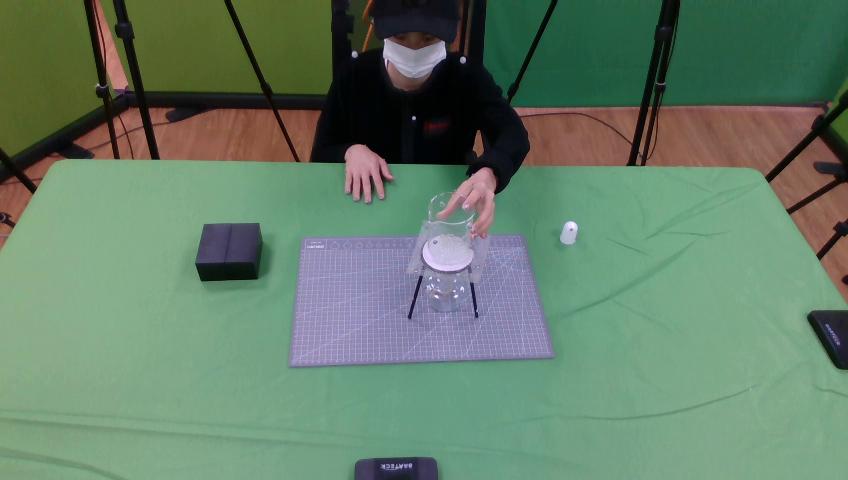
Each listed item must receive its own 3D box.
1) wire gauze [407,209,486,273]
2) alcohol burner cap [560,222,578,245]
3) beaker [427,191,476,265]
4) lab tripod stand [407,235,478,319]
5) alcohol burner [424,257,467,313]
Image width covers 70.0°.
[{"bbox_3d":[0.035,0.003,1.001,0.125,0.011,0.120,-7,50,-1],"label":"wire gauze"},{"bbox_3d":[0.295,-0.016,1.224,0.034,0.048,0.033,2,47,-2],"label":"alcohol burner cap"},{"bbox_3d":[0.039,-0.015,0.973,0.084,0.101,0.073,-30,53,-28],"label":"beaker"},{"bbox_3d":[0.032,0.065,1.057,0.148,0.132,0.147,1,45,-1],"label":"lab tripod stand"},{"bbox_3d":[0.038,0.072,1.064,0.078,0.120,0.077,1,47,-1],"label":"alcohol burner"}]
